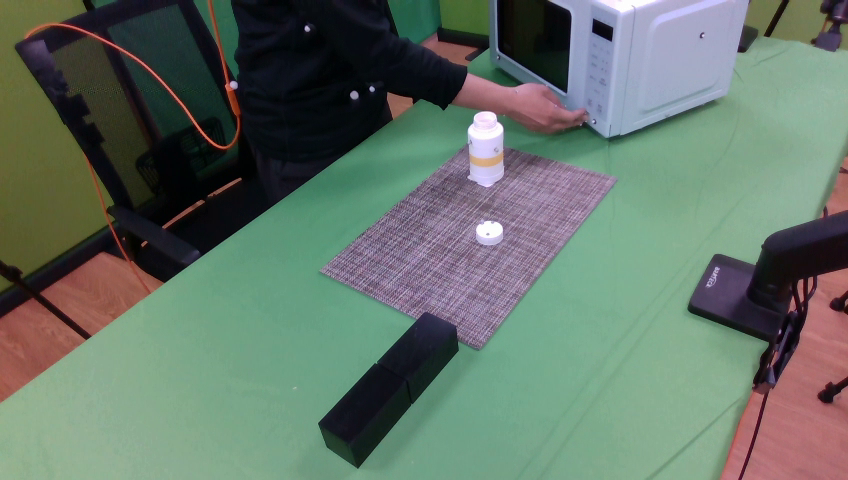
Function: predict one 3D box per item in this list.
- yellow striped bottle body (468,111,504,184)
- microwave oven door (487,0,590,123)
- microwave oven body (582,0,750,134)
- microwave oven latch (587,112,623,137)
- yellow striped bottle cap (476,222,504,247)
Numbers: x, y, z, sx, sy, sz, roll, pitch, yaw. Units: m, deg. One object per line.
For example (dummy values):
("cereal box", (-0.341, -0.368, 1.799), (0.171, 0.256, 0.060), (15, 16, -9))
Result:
("yellow striped bottle body", (0.110, -0.165, 1.064), (0.063, 0.121, 0.062), (-4, 41, 4))
("microwave oven door", (0.232, -0.420, 1.231), (0.039, 0.245, 0.352), (-22, 43, -16))
("microwave oven body", (0.382, -0.445, 1.246), (0.327, 0.261, 0.437), (-22, 42, -16))
("microwave oven latch", (0.339, -0.223, 1.142), (0.030, 0.029, 0.078), (-18, 41, -11))
("yellow striped bottle cap", (0.105, -0.010, 0.967), (0.044, 0.019, 0.044), (-3, 39, 3))
